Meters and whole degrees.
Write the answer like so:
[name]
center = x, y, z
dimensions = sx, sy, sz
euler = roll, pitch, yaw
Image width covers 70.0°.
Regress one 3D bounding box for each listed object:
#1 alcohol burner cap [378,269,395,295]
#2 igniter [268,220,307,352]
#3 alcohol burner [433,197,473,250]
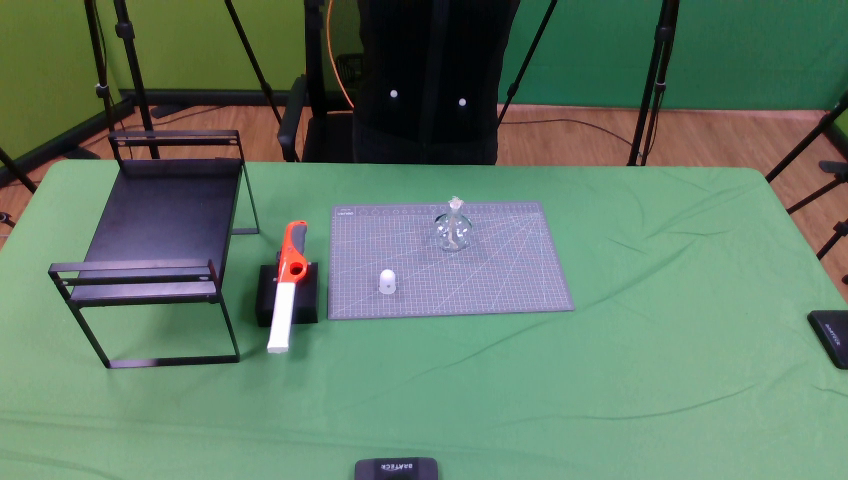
[alcohol burner cap]
center = -0.068, 0.073, 1.103
dimensions = 0.034, 0.048, 0.033
euler = 3, 46, -3
[igniter]
center = -0.235, 0.068, 1.045
dimensions = 0.057, 0.025, 0.274
euler = 1, 49, -4
[alcohol burner]
center = 0.058, -0.038, 1.169
dimensions = 0.078, 0.119, 0.077
euler = 3, 45, -3
